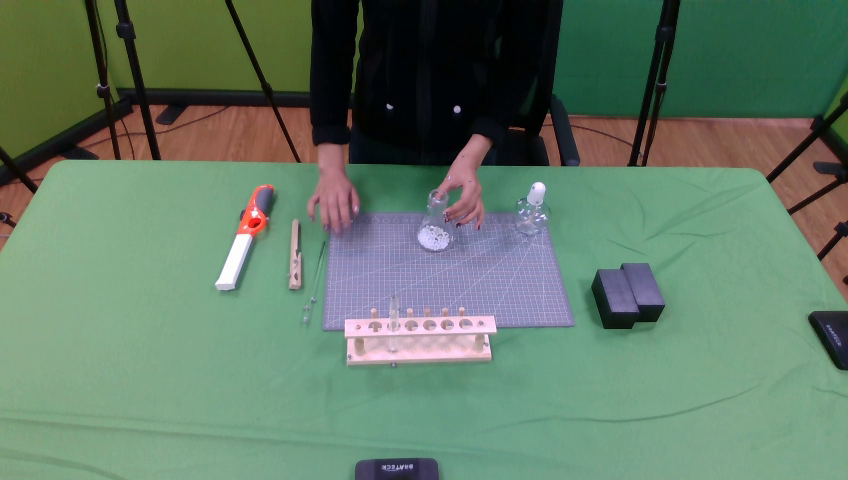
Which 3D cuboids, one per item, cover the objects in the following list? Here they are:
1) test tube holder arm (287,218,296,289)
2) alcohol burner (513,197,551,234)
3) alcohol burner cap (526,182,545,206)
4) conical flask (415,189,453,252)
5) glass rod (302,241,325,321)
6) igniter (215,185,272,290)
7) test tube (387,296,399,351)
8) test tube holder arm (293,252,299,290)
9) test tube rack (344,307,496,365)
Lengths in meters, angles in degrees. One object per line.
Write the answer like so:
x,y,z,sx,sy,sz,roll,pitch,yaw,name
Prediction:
-0.253,0.022,1.158,0.013,0.015,0.177,24,36,-34,test tube holder arm
0.220,-0.069,1.216,0.078,0.119,0.077,3,47,-3,alcohol burner
0.222,-0.093,1.189,0.034,0.048,0.033,2,54,-3,alcohol burner cap
0.023,-0.042,1.169,0.075,0.122,0.075,2,46,-2,conical flask
-0.204,0.071,1.124,0.008,0.008,0.198,4,44,1,glass rod
-0.347,-0.014,1.182,0.057,0.025,0.275,-1,45,8,igniter
-0.049,0.134,0.953,0.017,0.151,0.017,2,51,-3,test tube
-0.241,0.056,1.131,0.010,0.015,0.087,25,35,-33,test tube holder arm
-0.009,0.154,1.007,0.242,0.085,0.066,-1,46,-5,test tube rack
